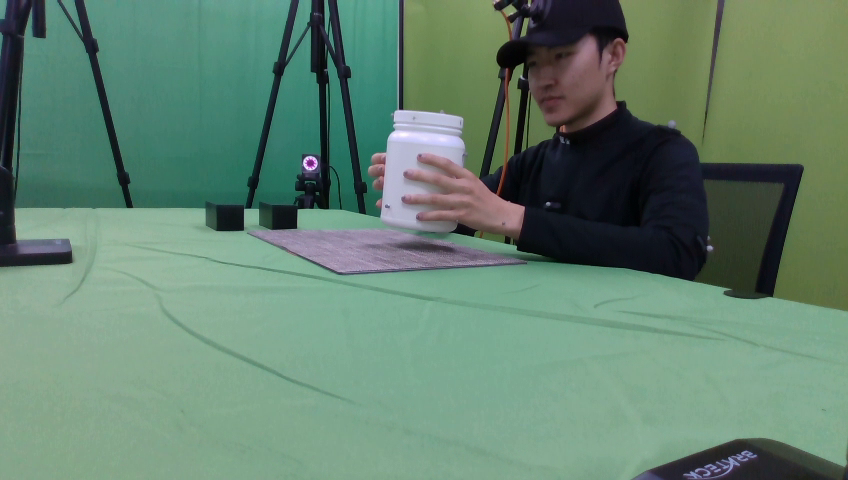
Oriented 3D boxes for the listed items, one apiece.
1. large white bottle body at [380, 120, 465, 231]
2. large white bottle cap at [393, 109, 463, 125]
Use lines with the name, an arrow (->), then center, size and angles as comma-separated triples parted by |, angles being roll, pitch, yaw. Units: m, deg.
large white bottle body -> -0.001, -0.114, 1.004 | 0.131, 0.184, 0.130 | 5, 8, 0
large white bottle cap -> 0.007, -0.200, 0.991 | 0.115, 0.018, 0.115 | 5, 8, 0
